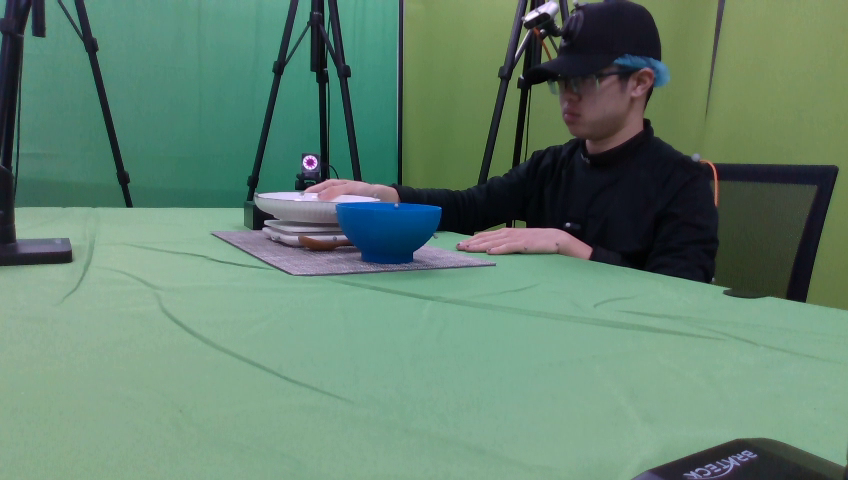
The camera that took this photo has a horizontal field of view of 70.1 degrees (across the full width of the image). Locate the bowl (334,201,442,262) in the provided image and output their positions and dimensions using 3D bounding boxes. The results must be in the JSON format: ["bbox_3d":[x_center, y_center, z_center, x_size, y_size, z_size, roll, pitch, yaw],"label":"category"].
[{"bbox_3d":[-0.051,-0.012,0.848,0.151,0.077,0.151,2,7,0],"label":"bowl"}]

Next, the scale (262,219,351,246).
[{"bbox_3d":[-0.159,-0.015,1.027,0.202,0.031,0.148,-2,8,-31],"label":"scale"}]

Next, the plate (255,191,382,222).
[{"bbox_3d":[-0.175,-0.056,1.013,0.209,0.038,0.209,3,8,0],"label":"plate"}]

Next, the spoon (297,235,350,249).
[{"bbox_3d":[-0.102,0.002,0.942,0.195,0.021,0.041,-1,-6,-31],"label":"spoon"}]
